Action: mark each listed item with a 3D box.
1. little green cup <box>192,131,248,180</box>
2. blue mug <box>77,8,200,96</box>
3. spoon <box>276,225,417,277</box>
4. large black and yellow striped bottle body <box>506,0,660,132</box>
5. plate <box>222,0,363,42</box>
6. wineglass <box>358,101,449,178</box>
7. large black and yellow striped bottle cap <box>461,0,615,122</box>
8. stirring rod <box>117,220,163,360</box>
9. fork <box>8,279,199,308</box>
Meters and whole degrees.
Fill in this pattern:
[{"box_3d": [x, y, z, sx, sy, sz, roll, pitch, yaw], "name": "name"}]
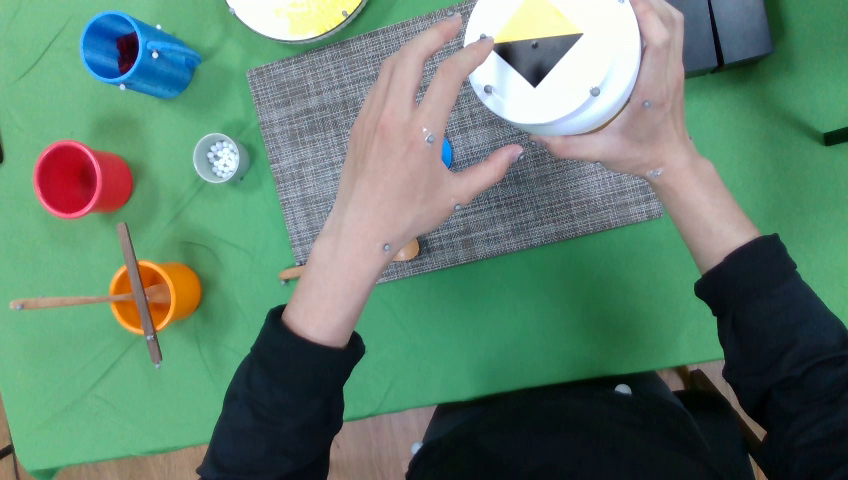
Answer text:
[{"box_3d": [-0.256, -0.105, 0.768, 0.061, 0.038, 0.061, 1, 95, 10], "name": "little green cup"}, {"box_3d": [-0.335, -0.226, 0.739, 0.116, 0.106, 0.082, 0, 94, 10], "name": "blue mug"}, {"box_3d": [-0.100, 0.019, 0.754, 0.193, 0.021, 0.042, -15, 113, 11], "name": "spoon"}, {"box_3d": [0.123, -0.159, 0.519, 0.130, 0.184, 0.131, 6, 102, 28], "name": "large black and yellow striped bottle body"}, {"box_3d": [-0.155, -0.343, 0.732, 0.209, 0.038, 0.209, 1, 95, 10], "name": "plate"}, {"box_3d": [-0.016, -0.103, 0.653, 0.073, 0.172, 0.074, 1, 93, 10], "name": "wineglass"}, {"box_3d": [0.081, -0.146, 0.447, 0.114, 0.019, 0.115, 5, 101, 27], "name": "large black and yellow striped bottle cap"}, {"box_3d": [-0.346, 0.061, 0.738, 0.014, 0.006, 0.176, -14, 91, 11], "name": "stirring rod"}, {"box_3d": [-0.388, 0.068, 0.748, 0.208, 0.018, 0.028, -3, 101, -33], "name": "fork"}]
